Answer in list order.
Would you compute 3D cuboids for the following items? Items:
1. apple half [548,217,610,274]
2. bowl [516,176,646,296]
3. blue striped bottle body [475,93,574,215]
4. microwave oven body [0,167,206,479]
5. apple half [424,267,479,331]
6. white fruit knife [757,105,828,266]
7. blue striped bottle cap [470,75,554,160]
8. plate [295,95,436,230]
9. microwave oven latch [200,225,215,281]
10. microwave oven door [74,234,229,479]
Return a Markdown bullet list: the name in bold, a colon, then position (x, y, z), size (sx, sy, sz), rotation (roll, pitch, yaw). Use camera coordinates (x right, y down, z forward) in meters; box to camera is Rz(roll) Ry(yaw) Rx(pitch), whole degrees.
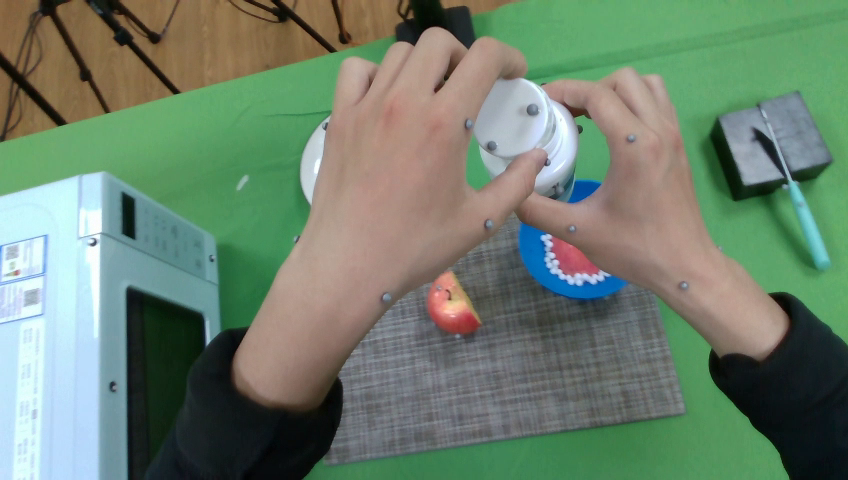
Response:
- **apple half**: position (0.193, 0.003, 0.751), size (0.081, 0.033, 0.081), rotation (-4, 70, 11)
- **bowl**: position (0.193, 0.004, 0.756), size (0.151, 0.077, 0.150), rotation (-4, 72, 12)
- **blue striped bottle body**: position (0.069, -0.059, 0.413), size (0.063, 0.121, 0.063), rotation (-2, 79, 11)
- **microwave oven body**: position (-0.454, 0.187, 0.740), size (0.326, 0.262, 0.438), rotation (-13, 71, 7)
- **apple half**: position (0.029, 0.082, 0.769), size (0.053, 0.075, 0.080), rotation (-31, 73, 5)
- **white fruit knife**: position (0.437, -0.066, 0.724), size (0.016, 0.027, 0.207), rotation (-22, 86, 23)
- **blue striped bottle cap**: position (0.048, -0.067, 0.333), size (0.044, 0.021, 0.044), rotation (0, 91, 21)
- **plate**: position (-0.083, -0.110, 0.877), size (0.207, 0.039, 0.206), rotation (-3, 73, 11)
- **microwave oven latch**: position (-0.318, 0.020, 0.867), size (0.030, 0.030, 0.078), rotation (-13, 71, 7)
- **microwave oven door**: position (-0.307, 0.193, 0.701), size (0.039, 0.245, 0.353), rotation (-13, 71, 8)
